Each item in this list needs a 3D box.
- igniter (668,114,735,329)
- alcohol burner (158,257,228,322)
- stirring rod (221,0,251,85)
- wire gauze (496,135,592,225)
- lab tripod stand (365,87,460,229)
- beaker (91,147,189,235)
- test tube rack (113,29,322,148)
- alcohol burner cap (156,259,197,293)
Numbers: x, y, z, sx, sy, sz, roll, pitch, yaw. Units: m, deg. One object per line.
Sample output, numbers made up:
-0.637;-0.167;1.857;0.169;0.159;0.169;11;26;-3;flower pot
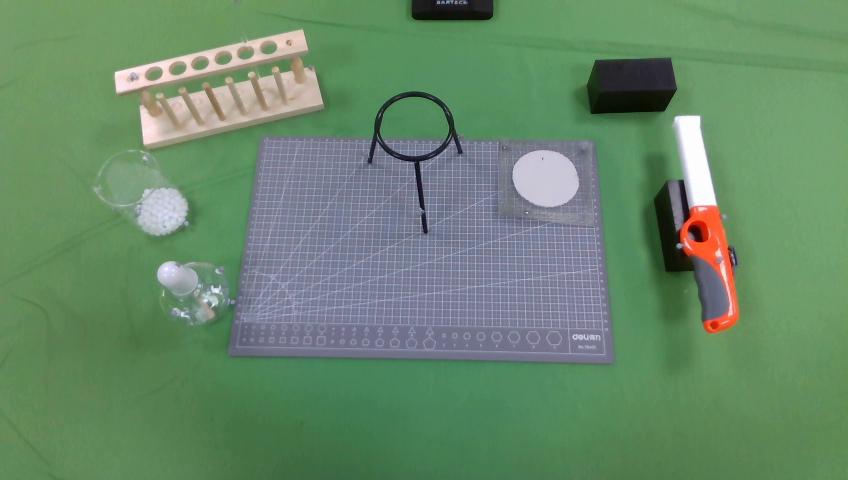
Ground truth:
0.320;-0.030;0.704;0.057;0.025;0.274;0;65;4;igniter
-0.267;0.051;0.686;0.078;0.120;0.077;0;66;0;alcohol burner
-0.232;-0.259;0.739;0.014;0.177;0.005;8;56;3;stirring rod
0.156;-0.082;0.786;0.125;0.011;0.120;6;68;1;wire gauze
-0.010;-0.104;0.730;0.148;0.132;0.147;0;69;-1;lab tripod stand
-0.340;-0.054;0.736;0.084;0.101;0.073;-12;68;-3;beaker
-0.266;-0.199;0.801;0.242;0.086;0.066;-15;69;-5;test tube rack
-0.269;0.036;0.653;0.034;0.048;0.033;0;71;0;alcohol burner cap
